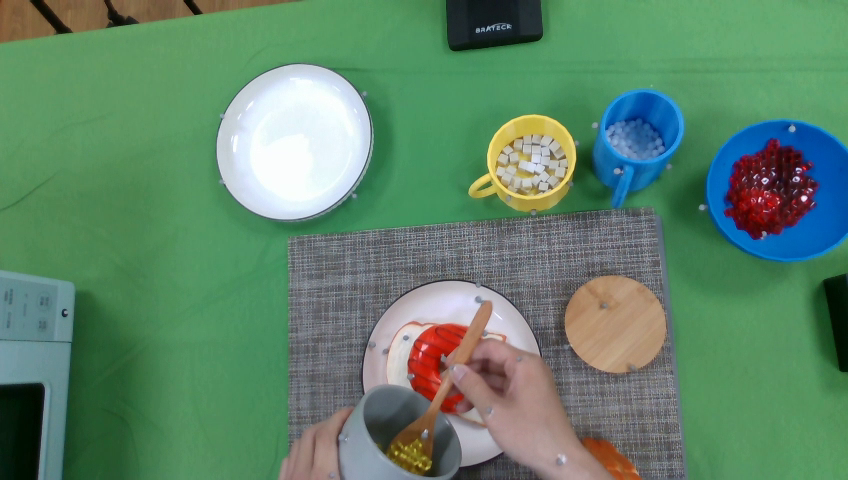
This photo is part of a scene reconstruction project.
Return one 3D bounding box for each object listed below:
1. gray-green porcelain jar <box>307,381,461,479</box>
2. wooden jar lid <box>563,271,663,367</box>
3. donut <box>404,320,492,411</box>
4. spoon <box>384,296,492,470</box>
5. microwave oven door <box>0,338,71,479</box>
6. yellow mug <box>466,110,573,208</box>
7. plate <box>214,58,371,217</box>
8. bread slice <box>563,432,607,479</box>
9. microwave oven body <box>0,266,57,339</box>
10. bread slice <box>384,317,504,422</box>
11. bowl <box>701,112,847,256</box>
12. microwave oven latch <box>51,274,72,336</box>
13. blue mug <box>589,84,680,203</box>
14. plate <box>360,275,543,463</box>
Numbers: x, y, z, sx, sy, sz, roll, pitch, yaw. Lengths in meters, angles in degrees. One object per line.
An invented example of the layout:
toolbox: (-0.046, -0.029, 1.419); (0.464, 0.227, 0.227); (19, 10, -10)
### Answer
gray-green porcelain jar: (-0.043, 0.212, 0.560); (0.105, 0.106, 0.127); (40, 113, 14)
wooden jar lid: (0.211, 0.089, 0.681); (0.108, 0.021, 0.108); (-2, 81, 10)
donut: (0.027, 0.137, 0.668); (0.099, 0.048, 0.098); (-1, 81, 7)
spoon: (0.015, 0.134, 0.541); (0.041, 0.021, 0.194); (29, 106, 9)
microwave oven door: (-0.487, 0.282, 0.641); (0.039, 0.245, 0.354); (-4, 80, 10)
yellow mug: (0.109, -0.086, 0.709); (0.131, 0.064, 0.099); (-26, 76, 6)
plate: (-0.165, -0.129, 0.778); (0.207, 0.039, 0.207); (-2, 81, 10)
bread slice: (0.159, 0.255, 0.608); (0.018, 0.135, 0.106); (3, 79, 2)
microwave oven body: (-0.630, 0.250, 0.677); (0.325, 0.261, 0.440); (-3, 81, 9)
bread slice: (0.019, 0.145, 0.699); (0.131, 0.019, 0.104); (10, 81, 8)
bowl: (0.370, -0.052, 0.651); (0.151, 0.077, 0.151); (-2, 81, 10)
microwave oven latch: (-0.473, 0.083, 0.776); (0.030, 0.029, 0.079); (-1, 81, 10)
blue mug: (0.225, -0.097, 0.670); (0.082, 0.106, 0.116); (16, 84, 13)
plate: (0.031, 0.145, 0.694); (0.209, 0.038, 0.208); (-2, 80, 10)
